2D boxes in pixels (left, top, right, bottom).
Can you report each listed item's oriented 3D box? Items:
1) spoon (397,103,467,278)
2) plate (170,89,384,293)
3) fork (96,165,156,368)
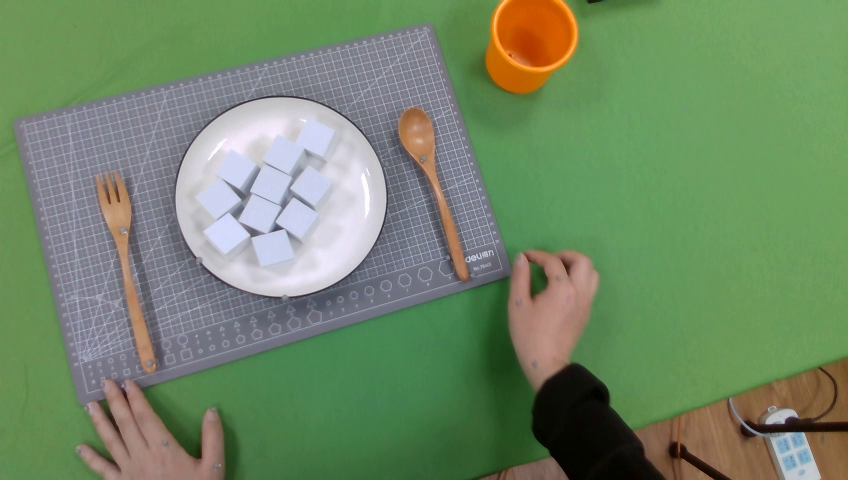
[{"bbox_3d":[0.012,-0.052,0.644,0.042,0.021,0.193,-15,83,-27],"label":"spoon"},{"bbox_3d":[-0.146,-0.048,0.618,0.208,0.039,0.207,1,82,-6],"label":"plate"},{"bbox_3d":[-0.293,0.025,0.600,0.028,0.018,0.206,-14,81,-13],"label":"fork"}]
